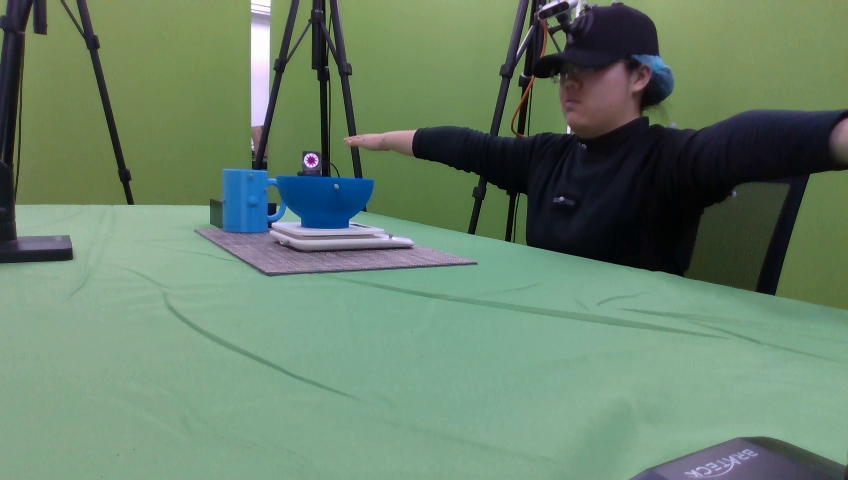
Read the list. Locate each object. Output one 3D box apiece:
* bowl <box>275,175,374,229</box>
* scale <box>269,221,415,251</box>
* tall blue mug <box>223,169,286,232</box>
[{"bbox_3d":[-0.153,-0.059,0.932,0.151,0.077,0.151,3,6,0],"label":"bowl"},{"bbox_3d":[-0.130,-0.008,0.959,0.202,0.031,0.148,-1,9,-32],"label":"scale"},{"bbox_3d":[-0.310,-0.072,1.091,0.077,0.108,0.107,5,8,27],"label":"tall blue mug"}]
